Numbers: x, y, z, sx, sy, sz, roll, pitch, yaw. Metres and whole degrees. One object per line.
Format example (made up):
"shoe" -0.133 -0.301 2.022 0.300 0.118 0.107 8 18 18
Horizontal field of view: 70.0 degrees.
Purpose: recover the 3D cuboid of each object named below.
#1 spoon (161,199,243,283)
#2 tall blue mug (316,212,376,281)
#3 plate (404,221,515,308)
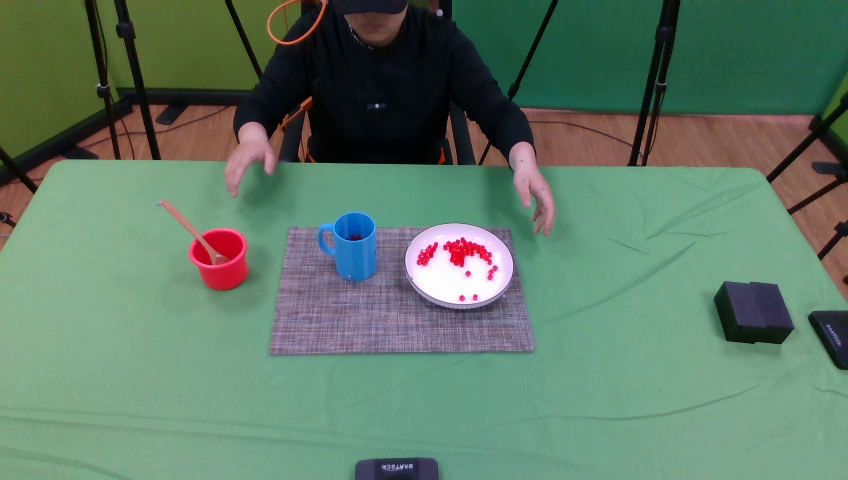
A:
"spoon" -0.397 0.001 1.083 0.194 0.021 0.041 53 56 -15
"tall blue mug" -0.142 0.014 1.108 0.107 0.108 0.077 -5 47 -8
"plate" 0.065 0.049 1.140 0.208 0.039 0.206 2 46 -2
